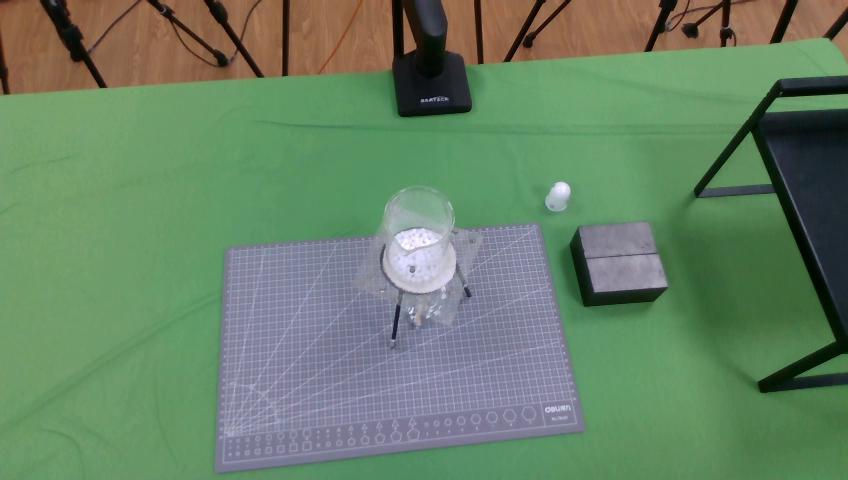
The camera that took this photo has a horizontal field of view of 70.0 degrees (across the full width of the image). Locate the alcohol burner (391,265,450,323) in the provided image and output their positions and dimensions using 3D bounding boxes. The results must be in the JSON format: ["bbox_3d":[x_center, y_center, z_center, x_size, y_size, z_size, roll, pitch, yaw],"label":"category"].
[{"bbox_3d":[-0.003,0.061,0.769,0.078,0.120,0.077,2,64,-3],"label":"alcohol burner"}]

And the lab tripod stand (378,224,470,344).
[{"bbox_3d":[-0.007,0.047,0.765,0.148,0.132,0.147,2,61,-3],"label":"lab tripod stand"}]

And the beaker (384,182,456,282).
[{"bbox_3d":[-0.008,-0.002,0.661,0.074,0.101,0.083,18,63,6],"label":"beaker"}]

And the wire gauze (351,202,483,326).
[{"bbox_3d":[-0.006,0.023,0.704,0.125,0.011,0.121,22,65,5],"label":"wire gauze"}]

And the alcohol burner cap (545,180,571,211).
[{"bbox_3d":[0.199,-0.068,0.888,0.034,0.048,0.033,1,62,-1],"label":"alcohol burner cap"}]
